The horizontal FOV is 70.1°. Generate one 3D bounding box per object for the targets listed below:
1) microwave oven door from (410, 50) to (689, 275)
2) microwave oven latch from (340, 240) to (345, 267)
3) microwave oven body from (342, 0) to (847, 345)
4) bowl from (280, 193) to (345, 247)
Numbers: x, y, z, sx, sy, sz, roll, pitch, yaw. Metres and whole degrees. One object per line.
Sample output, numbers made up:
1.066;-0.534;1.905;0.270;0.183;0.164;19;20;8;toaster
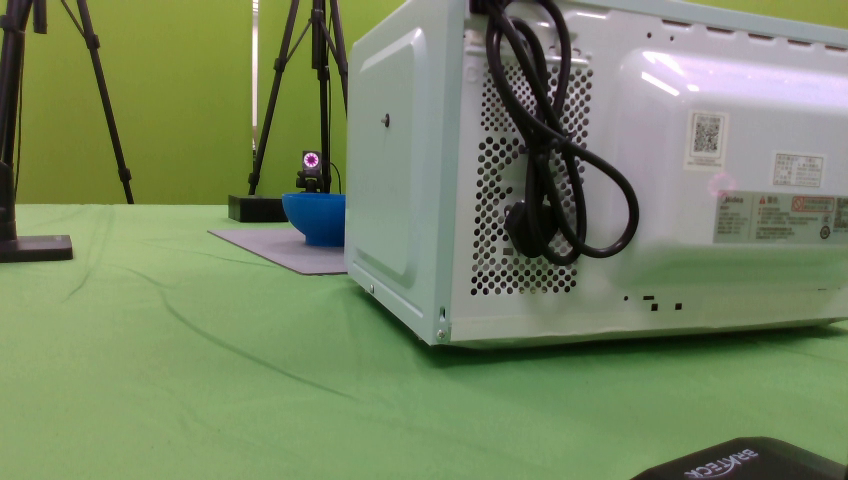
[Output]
0.161;-0.084;0.723;0.357;0.243;0.039;0;8;-20;microwave oven door
-0.052;0.016;0.661;0.079;0.029;0.030;1;7;-18;microwave oven latch
0.169;-0.059;0.573;0.444;0.260;0.324;1;7;-20;microwave oven body
-0.153;-0.032;0.969;0.151;0.077;0.151;3;7;0;bowl
